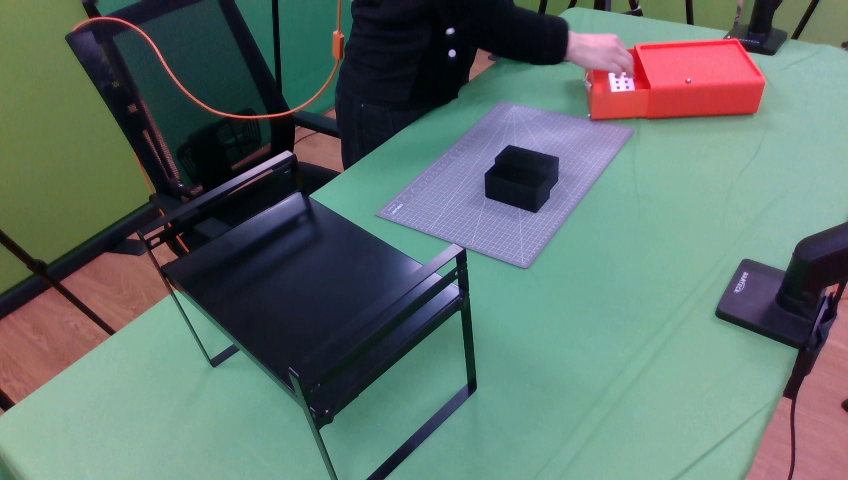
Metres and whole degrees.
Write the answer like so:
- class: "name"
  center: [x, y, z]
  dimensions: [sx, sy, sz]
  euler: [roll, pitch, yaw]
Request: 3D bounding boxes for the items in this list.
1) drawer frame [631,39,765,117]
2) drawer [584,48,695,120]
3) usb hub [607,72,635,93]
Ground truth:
- class: "drawer frame"
  center: [0.544, -0.332, 1.233]
  dimensions: [0.213, 0.083, 0.201]
  euler: [-1, 41, 6]
- class: "drawer"
  center: [0.442, -0.328, 1.251]
  dimensions: [0.211, 0.073, 0.194]
  euler: [1, 41, 8]
- class: "usb hub"
  center: [0.414, -0.312, 1.264]
  dimensions: [0.049, 0.025, 0.124]
  euler: [1, 42, 10]
